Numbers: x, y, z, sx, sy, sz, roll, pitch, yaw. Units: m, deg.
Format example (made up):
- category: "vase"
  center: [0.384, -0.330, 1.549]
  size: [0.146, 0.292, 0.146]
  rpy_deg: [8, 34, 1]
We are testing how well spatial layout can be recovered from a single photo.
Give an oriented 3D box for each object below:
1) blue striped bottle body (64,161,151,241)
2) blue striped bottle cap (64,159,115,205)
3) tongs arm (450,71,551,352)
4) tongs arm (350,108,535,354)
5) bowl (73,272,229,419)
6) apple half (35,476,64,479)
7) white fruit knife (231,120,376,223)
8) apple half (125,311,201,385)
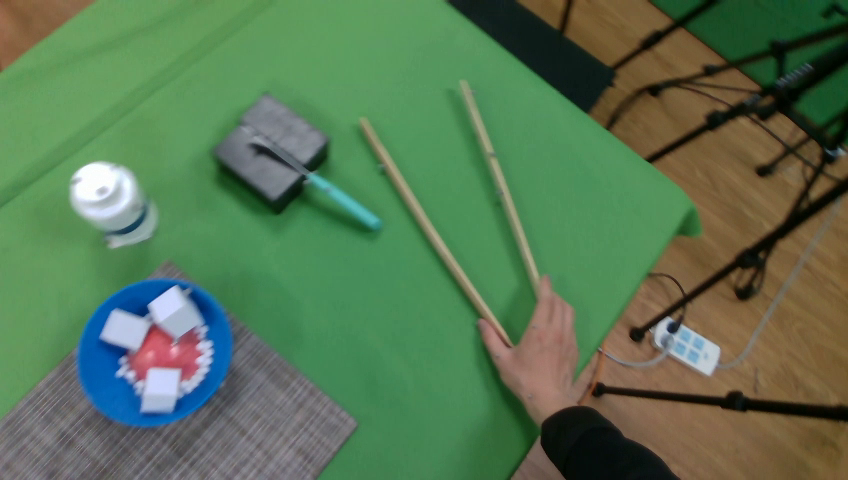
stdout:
- category: "blue striped bottle body"
  center: [-0.351, -0.045, 0.672]
  size: [0.063, 0.121, 0.062]
  rpy_deg: [3, 73, -8]
- category: "blue striped bottle cap"
  center: [-0.345, -0.060, 0.624]
  size: [0.045, 0.020, 0.044]
  rpy_deg: [3, 76, -11]
- category: "tongs arm"
  center: [0.087, -0.044, 0.790]
  size: [0.051, 0.026, 0.383]
  rpy_deg: [-19, 79, -14]
- category: "tongs arm"
  center: [0.015, -0.013, 0.772]
  size: [0.028, 0.028, 0.386]
  rpy_deg: [-32, 82, -20]
- category: "bowl"
  center: [-0.283, 0.117, 0.656]
  size: [0.152, 0.077, 0.150]
  rpy_deg: [3, 74, -8]
- category: "apple half"
  center: [-0.356, 0.274, 0.602]
  size: [0.081, 0.075, 0.053]
  rpy_deg: [22, 75, -7]
- category: "white fruit knife"
  center: [-0.144, -0.082, 0.735]
  size: [0.208, 0.027, 0.016]
  rpy_deg: [35, 89, -16]
- category: "apple half"
  center: [-0.281, 0.115, 0.652]
  size: [0.081, 0.033, 0.081]
  rpy_deg: [2, 74, -8]
